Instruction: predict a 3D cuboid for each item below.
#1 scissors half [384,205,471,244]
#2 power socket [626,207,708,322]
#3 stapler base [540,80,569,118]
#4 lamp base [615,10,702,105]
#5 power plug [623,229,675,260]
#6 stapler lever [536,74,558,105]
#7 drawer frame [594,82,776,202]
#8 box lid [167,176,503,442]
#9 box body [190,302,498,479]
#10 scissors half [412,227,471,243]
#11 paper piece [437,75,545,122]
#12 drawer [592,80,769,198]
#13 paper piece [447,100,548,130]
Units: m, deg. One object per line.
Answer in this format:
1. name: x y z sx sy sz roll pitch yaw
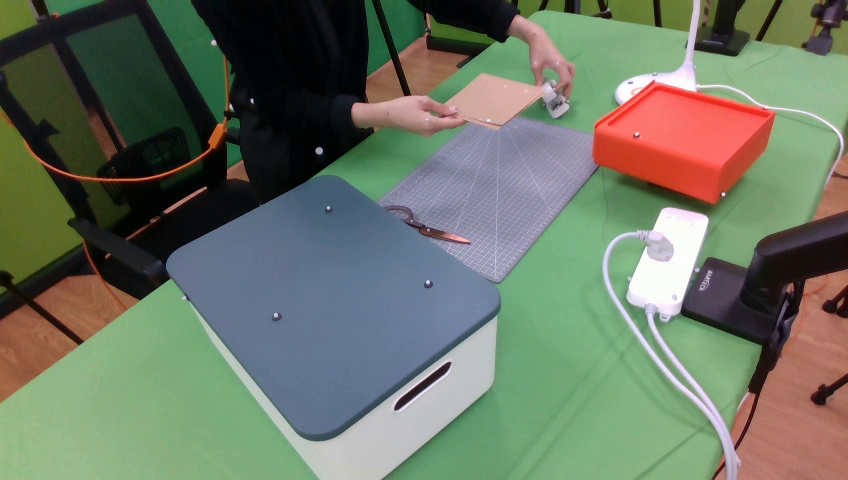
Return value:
1. scissors half: 0.001 -0.024 1.005 0.174 0.013 0.040 23 58 25
2. power socket: 0.360 0.026 0.886 0.072 0.033 0.227 16 46 26
3. stapler base: 0.270 -0.305 1.280 0.041 0.024 0.130 -32 35 18
4. lamp base: 0.484 -0.364 1.211 0.180 0.181 0.159 -15 41 -14
5. power plug: 0.327 0.007 0.878 0.072 0.053 0.035 25 51 33
6. stapler lever: 0.254 -0.321 1.268 0.027 0.040 0.117 -32 34 18
7. drawer frame: 0.428 -0.171 1.006 0.211 0.083 0.202 29 51 36
8. box lid: -0.119 0.047 0.714 0.264 0.015 0.368 -32 47 -27
9. box body: -0.110 0.103 0.761 0.255 0.161 0.361 -33 46 -27
10. scissors half: -0.007 -0.010 0.993 0.174 0.013 0.040 8 47 15
11. paper piece: 0.115 -0.242 1.028 0.137 0.009 0.136 23 47 34
12. drawer: 0.423 -0.174 1.008 0.210 0.073 0.195 30 52 35
13. paper piece: 0.118 -0.227 1.029 0.136 0.004 0.134 -29 43 -33
